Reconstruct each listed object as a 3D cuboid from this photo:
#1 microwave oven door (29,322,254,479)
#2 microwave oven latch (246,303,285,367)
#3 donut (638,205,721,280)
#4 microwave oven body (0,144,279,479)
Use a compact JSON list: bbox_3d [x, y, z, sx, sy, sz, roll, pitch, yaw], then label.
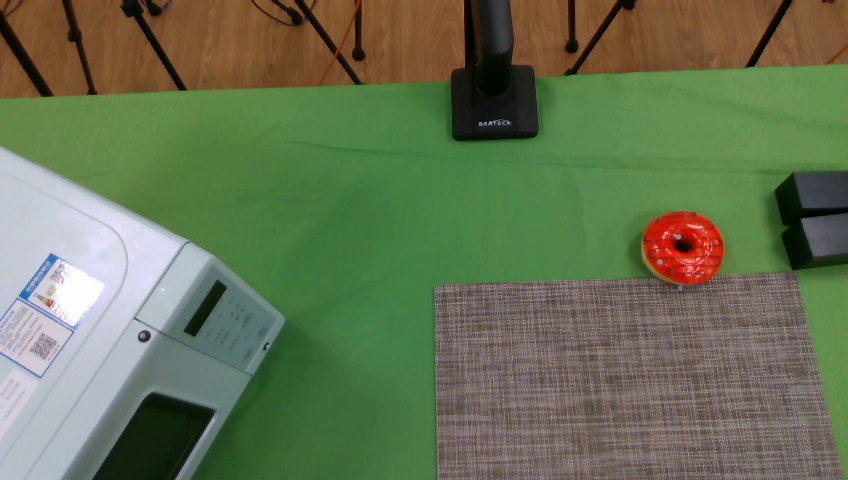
[{"bbox_3d":[-0.307,0.259,0.574,0.039,0.245,0.354,24,73,13],"label":"microwave oven door"},{"bbox_3d":[-0.199,0.111,0.730,0.030,0.030,0.079,27,74,12],"label":"microwave oven latch"},{"bbox_3d":[0.317,0.004,0.752,0.099,0.048,0.098,-3,66,7],"label":"donut"},{"bbox_3d":[-0.417,0.167,0.620,0.325,0.262,0.440,25,74,12],"label":"microwave oven body"}]
